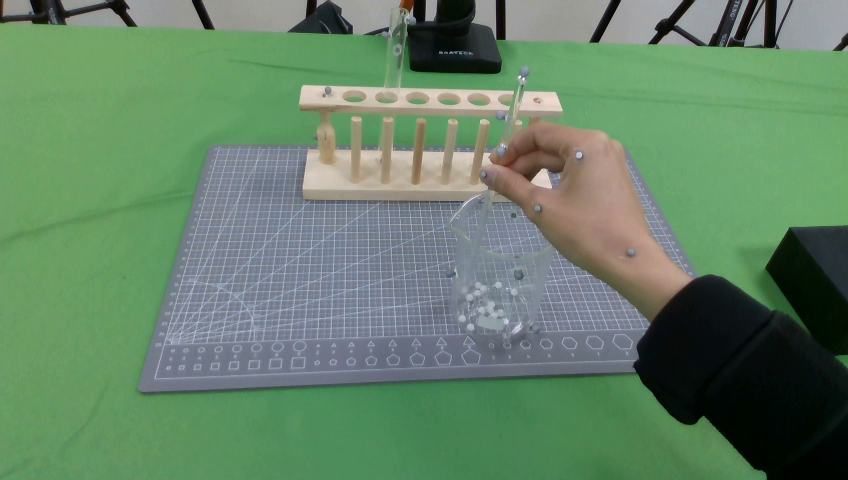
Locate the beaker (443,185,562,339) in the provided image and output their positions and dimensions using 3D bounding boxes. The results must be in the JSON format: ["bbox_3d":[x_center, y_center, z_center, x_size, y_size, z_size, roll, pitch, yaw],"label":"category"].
[{"bbox_3d":[0.053,0.020,0.457,0.084,0.101,0.073,1,43,-2],"label":"beaker"}]

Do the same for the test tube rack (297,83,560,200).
[{"bbox_3d":[0.004,-0.093,0.582,0.243,0.086,0.066,0,44,-5],"label":"test tube rack"}]

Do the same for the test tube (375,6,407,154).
[{"bbox_3d":[-0.032,-0.140,0.555,0.017,0.151,0.017,6,45,-5],"label":"test tube"}]

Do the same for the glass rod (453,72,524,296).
[{"bbox_3d":[0.041,-0.027,0.430,0.008,0.201,0.008,7,43,-6],"label":"glass rod"}]
